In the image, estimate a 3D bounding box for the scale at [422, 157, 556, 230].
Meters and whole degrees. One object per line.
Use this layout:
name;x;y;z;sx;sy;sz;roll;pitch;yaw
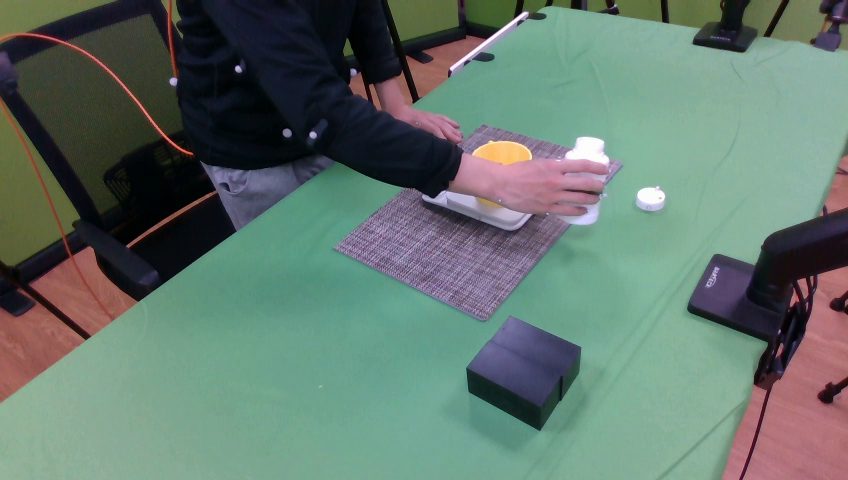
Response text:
scale;0.110;-0.089;1.042;0.199;0.032;0.149;23;49;31

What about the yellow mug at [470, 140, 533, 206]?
yellow mug;0.125;-0.121;1.004;0.100;0.064;0.130;-13;40;-5

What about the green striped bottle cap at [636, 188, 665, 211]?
green striped bottle cap;0.374;-0.066;0.998;0.044;0.020;0.044;-7;38;6

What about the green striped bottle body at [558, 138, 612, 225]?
green striped bottle body;0.236;-0.087;0.884;0.063;0.119;0.063;3;25;-1
